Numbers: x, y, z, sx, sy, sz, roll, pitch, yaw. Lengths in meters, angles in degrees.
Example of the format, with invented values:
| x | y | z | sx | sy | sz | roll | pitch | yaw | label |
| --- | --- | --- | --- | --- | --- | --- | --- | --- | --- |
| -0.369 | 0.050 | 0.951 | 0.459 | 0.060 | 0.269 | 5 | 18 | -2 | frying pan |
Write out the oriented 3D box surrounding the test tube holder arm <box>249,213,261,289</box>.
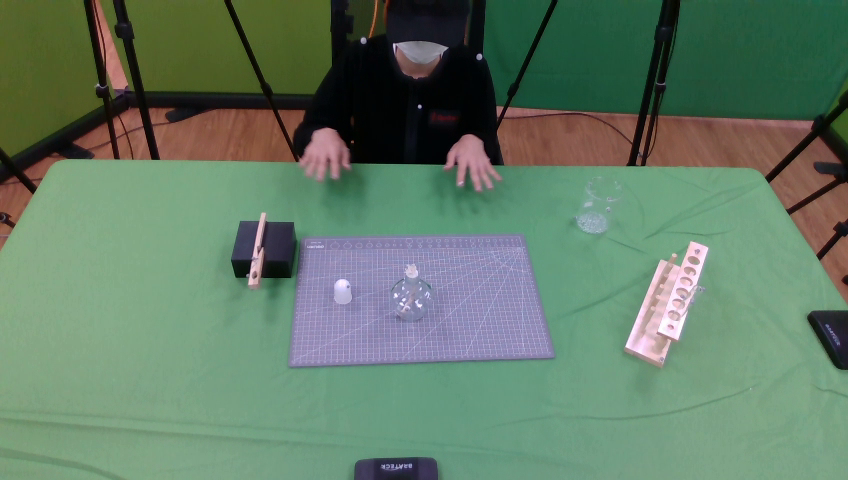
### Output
| x | y | z | sx | sy | sz | roll | pitch | yaw | label |
| --- | --- | --- | --- | --- | --- | --- | --- | --- | --- |
| -0.305 | 0.016 | 1.096 | 0.013 | 0.015 | 0.177 | 4 | 45 | -15 | test tube holder arm |

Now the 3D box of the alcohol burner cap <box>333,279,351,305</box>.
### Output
| x | y | z | sx | sy | sz | roll | pitch | yaw | label |
| --- | --- | --- | --- | --- | --- | --- | --- | --- | --- |
| -0.147 | 0.090 | 1.083 | 0.034 | 0.048 | 0.033 | 2 | 46 | -2 | alcohol burner cap |

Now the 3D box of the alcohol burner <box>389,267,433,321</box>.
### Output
| x | y | z | sx | sy | sz | roll | pitch | yaw | label |
| --- | --- | --- | --- | --- | --- | --- | --- | --- | --- |
| -0.022 | 0.085 | 1.046 | 0.078 | 0.119 | 0.077 | 2 | 48 | -2 | alcohol burner |

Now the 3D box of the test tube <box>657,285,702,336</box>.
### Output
| x | y | z | sx | sy | sz | roll | pitch | yaw | label |
| --- | --- | --- | --- | --- | --- | --- | --- | --- | --- |
| 0.418 | 0.121 | 1.000 | 0.017 | 0.151 | 0.017 | 4 | 51 | -4 | test tube |

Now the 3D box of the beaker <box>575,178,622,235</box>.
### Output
| x | y | z | sx | sy | sz | roll | pitch | yaw | label |
| --- | --- | --- | --- | --- | --- | --- | --- | --- | --- |
| 0.356 | -0.068 | 1.240 | 0.084 | 0.101 | 0.073 | -18 | 50 | -21 | beaker |

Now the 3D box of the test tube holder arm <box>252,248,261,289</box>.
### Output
| x | y | z | sx | sy | sz | roll | pitch | yaw | label |
| --- | --- | --- | --- | --- | --- | --- | --- | --- | --- |
| -0.294 | 0.049 | 1.066 | 0.010 | 0.015 | 0.087 | 5 | 45 | -14 | test tube holder arm |

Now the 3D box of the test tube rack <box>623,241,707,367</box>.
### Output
| x | y | z | sx | sy | sz | roll | pitch | yaw | label |
| --- | --- | --- | --- | --- | --- | --- | --- | --- | --- |
| 0.435 | 0.104 | 1.089 | 0.066 | 0.085 | 0.242 | 24 | 49 | 19 | test tube rack |
